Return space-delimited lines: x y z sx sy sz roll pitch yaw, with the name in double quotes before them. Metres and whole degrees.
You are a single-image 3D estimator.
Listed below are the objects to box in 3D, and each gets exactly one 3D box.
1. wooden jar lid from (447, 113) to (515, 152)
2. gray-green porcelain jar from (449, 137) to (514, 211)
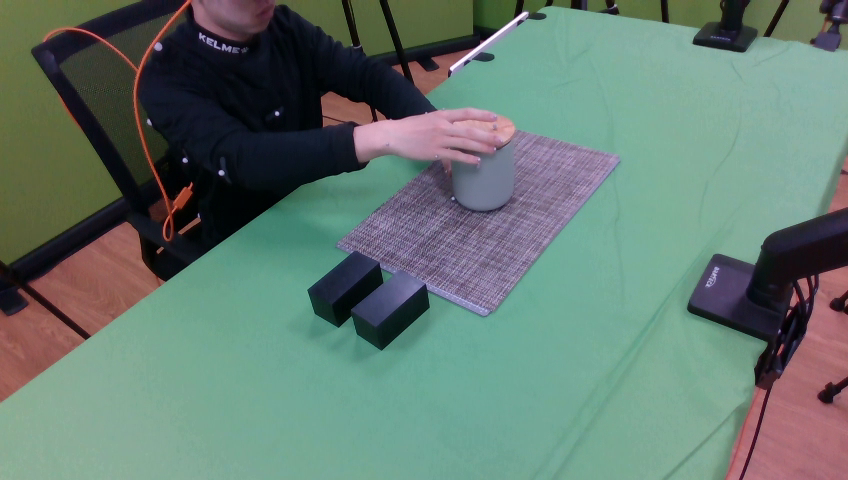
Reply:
"wooden jar lid" 0.091 -0.168 0.967 0.108 0.021 0.108 -4 40 4
"gray-green porcelain jar" 0.098 -0.120 1.009 0.106 0.127 0.105 -4 41 4
